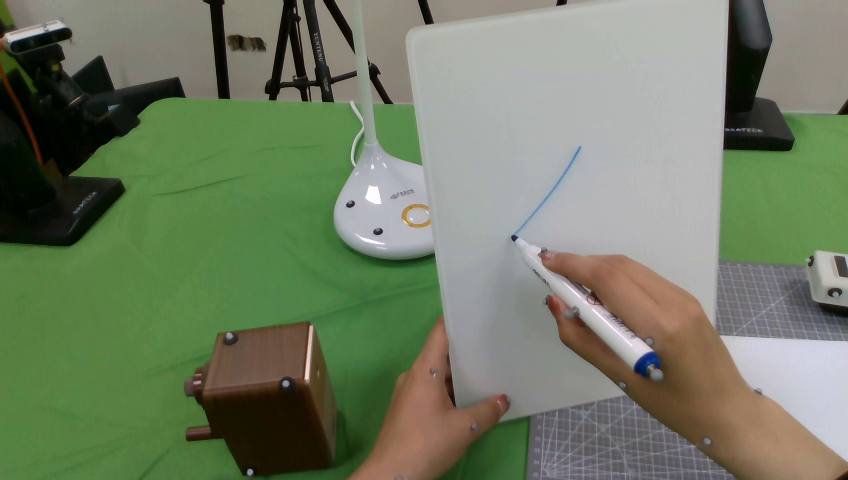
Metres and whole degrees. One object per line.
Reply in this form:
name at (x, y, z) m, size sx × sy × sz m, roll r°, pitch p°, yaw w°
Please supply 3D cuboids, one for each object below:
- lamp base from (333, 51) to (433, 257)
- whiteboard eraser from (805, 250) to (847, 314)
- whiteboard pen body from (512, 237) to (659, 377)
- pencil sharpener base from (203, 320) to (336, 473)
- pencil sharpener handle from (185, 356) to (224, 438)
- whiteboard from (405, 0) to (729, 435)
lamp base at (-0.037, -0.099, 0.649) m, size 0.161 × 0.182 × 0.177 m, roll -29°, pitch 43°, yaw -26°
whiteboard eraser at (0.405, 0.044, 0.536) m, size 0.112 × 0.042 × 0.055 m, roll 10°, pitch 43°, yaw 17°
whiteboard pen body at (0.093, 0.034, 0.378) m, size 0.017 × 0.017 × 0.139 m, roll -20°, pitch 39°, yaw -17°
pencil sharpener base at (-0.112, 0.119, 0.451) m, size 0.077 × 0.108 × 0.060 m, roll -7°, pitch 40°, yaw -1°
pencil sharpener handle at (-0.163, 0.117, 0.439) m, size 0.030 × 0.068 × 0.035 m, roll -7°, pitch 27°, yaw -1°
whiteboard at (0.105, -0.029, 0.498) m, size 0.217 × 0.307 × 0.142 m, roll -10°, pitch 21°, yaw -5°
